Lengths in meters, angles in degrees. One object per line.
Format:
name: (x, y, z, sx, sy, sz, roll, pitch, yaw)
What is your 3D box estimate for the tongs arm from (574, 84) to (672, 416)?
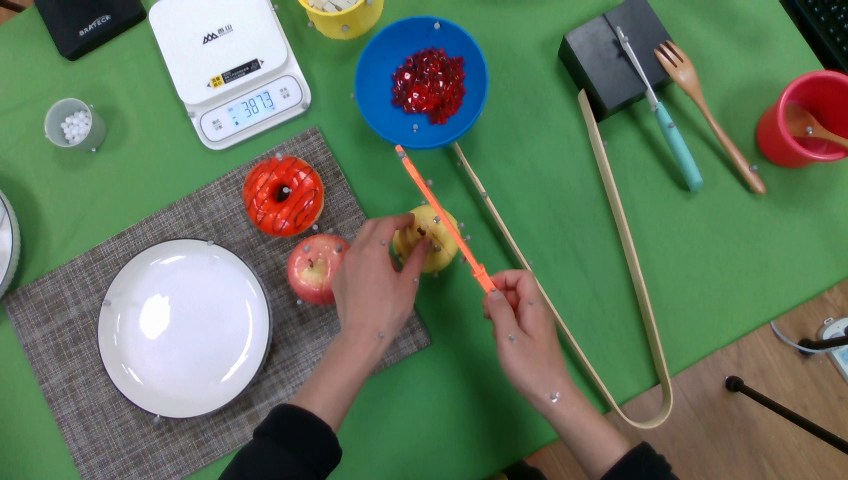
tongs arm: (0.225, 0.006, 0.697, 0.028, 0.028, 0.386, -13, 84, -6)

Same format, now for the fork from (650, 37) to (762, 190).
fork: (0.321, -0.140, 0.682, 0.028, 0.018, 0.208, -38, 99, -2)

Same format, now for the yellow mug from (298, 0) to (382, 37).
yellow mug: (-0.119, -0.313, 0.729, 0.130, 0.064, 0.100, 29, 88, 7)

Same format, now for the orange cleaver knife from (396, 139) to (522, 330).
orange cleaver knife: (0.033, -0.005, 0.582, 0.012, 0.076, 0.212, -32, 107, 7)

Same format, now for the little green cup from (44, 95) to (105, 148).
little green cup: (-0.431, -0.144, 0.753, 0.061, 0.039, 0.061, 0, 85, 5)

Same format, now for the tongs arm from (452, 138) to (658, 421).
tongs arm: (0.146, 0.039, 0.695, 0.051, 0.026, 0.383, -28, 84, -4)

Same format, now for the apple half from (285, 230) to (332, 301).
apple half: (-0.130, 0.028, 0.693, 0.053, 0.075, 0.080, 5, 88, 8)

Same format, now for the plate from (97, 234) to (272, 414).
plate: (-0.277, 0.097, 0.716, 0.209, 0.038, 0.208, 0, 85, 4)

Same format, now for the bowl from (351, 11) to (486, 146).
bowl: (-0.003, -0.175, 0.703, 0.151, 0.077, 0.151, 0, 86, 4)

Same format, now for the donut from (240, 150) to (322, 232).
donut: (-0.170, -0.058, 0.718, 0.099, 0.048, 0.099, 0, 86, 6)

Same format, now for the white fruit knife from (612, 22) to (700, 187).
white fruit knife: (0.259, -0.150, 0.680, 0.016, 0.027, 0.208, -31, 98, 1)

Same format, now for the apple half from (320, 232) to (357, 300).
apple half: (-0.091, 0.031, 0.689, 0.033, 0.081, 0.081, 5, 85, 8)

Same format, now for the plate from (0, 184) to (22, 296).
plate: (-0.594, 0.005, 0.752, 0.207, 0.039, 0.207, 0, 85, 4)

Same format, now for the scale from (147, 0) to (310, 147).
scale: (-0.242, -0.230, 0.749, 0.148, 0.031, 0.200, -24, 84, 2)

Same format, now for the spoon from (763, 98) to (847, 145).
spoon: (0.435, -0.103, 0.630, 0.041, 0.022, 0.191, -34, 39, 0)

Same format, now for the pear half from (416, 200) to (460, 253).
pear half: (0.020, -0.021, 0.682, 0.031, 0.088, 0.070, -42, 79, 1)

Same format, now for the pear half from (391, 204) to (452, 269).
pear half: (-0.009, -0.001, 0.673, 0.056, 0.110, 0.076, -41, 77, -1)
